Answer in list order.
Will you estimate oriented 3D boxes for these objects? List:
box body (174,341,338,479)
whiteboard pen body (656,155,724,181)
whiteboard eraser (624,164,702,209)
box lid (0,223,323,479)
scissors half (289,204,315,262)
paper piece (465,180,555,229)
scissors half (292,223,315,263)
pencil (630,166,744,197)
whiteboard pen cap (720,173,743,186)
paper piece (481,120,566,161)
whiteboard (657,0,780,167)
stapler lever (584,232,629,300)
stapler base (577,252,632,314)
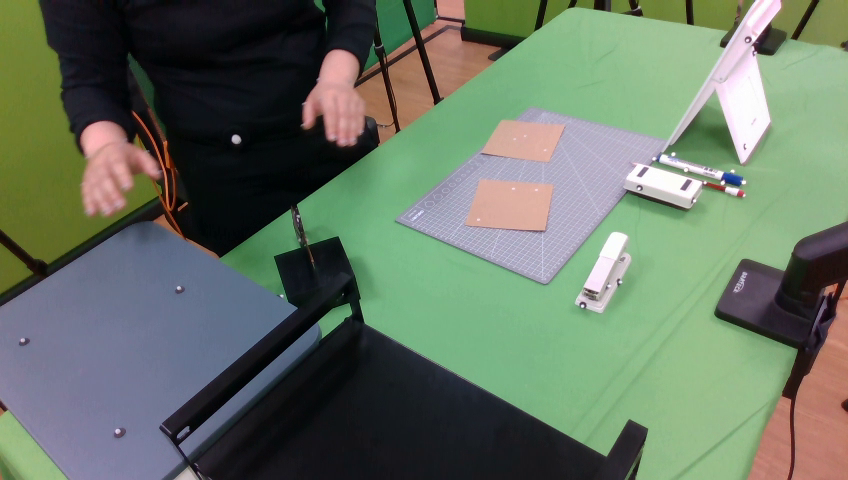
[{"bbox_3d":[-0.311,0.165,0.720,0.361,0.161,0.255,23,49,32],"label":"box body"},{"bbox_3d":[0.475,-0.123,1.052,0.139,0.017,0.017,24,50,32],"label":"whiteboard pen body"},{"bbox_3d":[0.396,-0.087,1.003,0.112,0.042,0.056,22,47,31],"label":"whiteboard eraser"},{"bbox_3d":[-0.318,0.109,0.671,0.368,0.015,0.264,24,50,31],"label":"box lid"},{"bbox_3d":[-0.190,-0.011,0.945,0.013,0.040,0.173,-14,37,-17],"label":"scissors half"},{"bbox_3d":[0.149,-0.062,1.035,0.137,0.009,0.136,4,37,16],"label":"paper piece"},{"bbox_3d":[-0.188,0.007,0.954,0.013,0.040,0.174,-19,21,-14],"label":"scissors half"},{"bbox_3d":[0.447,-0.103,1.039,0.192,0.012,0.012,21,48,30],"label":"pencil"},{"bbox_3d":[0.519,-0.103,1.020,0.033,0.018,0.018,23,49,30],"label":"whiteboard pen cap"},{"bbox_3d":[0.197,-0.199,1.188,0.135,0.004,0.135,10,44,21],"label":"paper piece"},{"bbox_3d":[0.571,-0.272,1.038,0.143,0.306,0.218,36,54,17],"label":"whiteboard"},{"bbox_3d":[0.260,0.034,0.858,0.026,0.040,0.118,16,46,30],"label":"stapler lever"},{"bbox_3d":[0.264,0.051,0.875,0.041,0.024,0.131,16,47,30],"label":"stapler base"}]
